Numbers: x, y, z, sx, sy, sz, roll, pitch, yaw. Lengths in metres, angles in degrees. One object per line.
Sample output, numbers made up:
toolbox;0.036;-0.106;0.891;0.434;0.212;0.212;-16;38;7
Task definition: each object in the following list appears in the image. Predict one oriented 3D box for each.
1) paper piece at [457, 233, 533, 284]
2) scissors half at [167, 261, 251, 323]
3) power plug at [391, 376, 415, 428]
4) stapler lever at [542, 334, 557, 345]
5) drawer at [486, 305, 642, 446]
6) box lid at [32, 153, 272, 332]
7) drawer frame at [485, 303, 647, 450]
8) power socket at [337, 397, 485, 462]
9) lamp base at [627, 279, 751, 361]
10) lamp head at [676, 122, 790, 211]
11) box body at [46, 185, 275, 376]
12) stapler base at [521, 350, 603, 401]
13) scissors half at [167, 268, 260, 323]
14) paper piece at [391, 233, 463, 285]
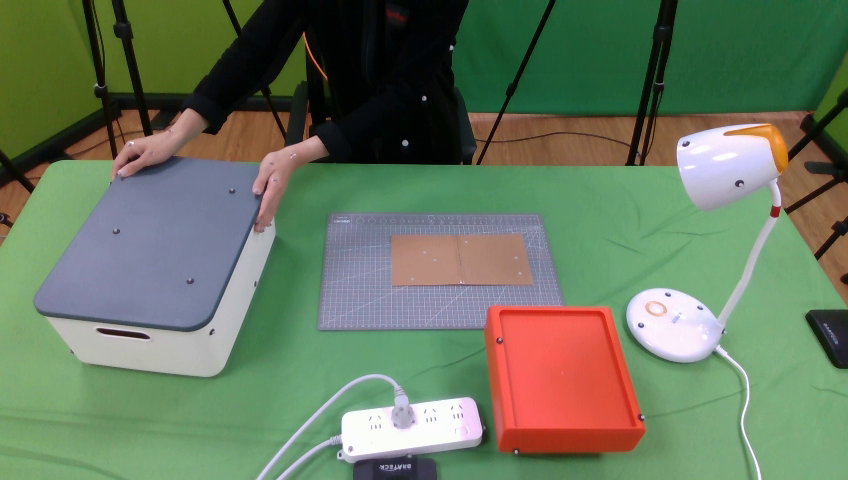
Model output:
paper piece;0.136;0.035;1.182;0.136;0.009;0.137;2;45;-6
scissors half;-0.383;0.091;1.081;0.040;0.013;0.175;23;51;33
power plug;-0.031;0.249;0.917;0.035;0.053;0.072;3;46;-1
stapler lever;0.225;0.181;0.928;0.118;0.040;0.027;27;34;15
drawer;0.202;0.200;0.919;0.195;0.073;0.210;2;47;-4
box lid;-0.416;-0.015;0.979;0.263;0.015;0.369;6;46;1
drawer frame;0.204;0.202;0.917;0.202;0.083;0.212;1;47;-4
power socket;-0.018;0.285;0.915;0.227;0.033;0.071;-4;46;-8
lamp base;0.460;0.100;1.027;0.178;0.181;0.160;27;51;17
lamp head;0.423;-0.104;0.819;0.122;0.113;0.112;-13;33;40
box body;-0.420;0.037;1.031;0.254;0.161;0.362;6;46;2
stapler base;0.217;0.203;0.942;0.130;0.024;0.041;26;33;16
scissors half;-0.369;0.100;1.069;0.175;0.013;0.040;-29;50;-21
paper piece;0.004;0.035;1.170;0.135;0.004;0.135;1;46;-4
